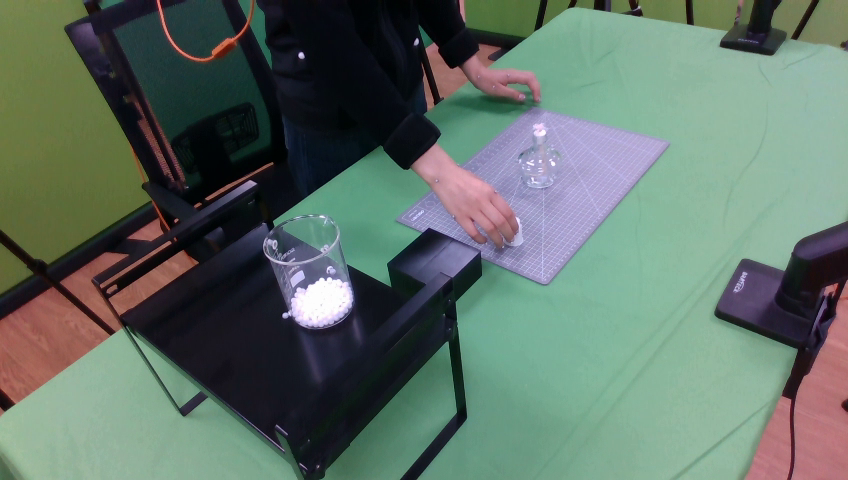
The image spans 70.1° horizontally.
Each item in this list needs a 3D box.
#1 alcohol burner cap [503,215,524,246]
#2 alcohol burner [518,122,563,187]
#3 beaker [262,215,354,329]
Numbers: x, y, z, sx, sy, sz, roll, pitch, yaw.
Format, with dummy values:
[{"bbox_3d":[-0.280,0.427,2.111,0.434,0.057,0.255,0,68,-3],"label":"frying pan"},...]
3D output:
[{"bbox_3d":[0.141,-0.018,0.955,0.034,0.048,0.033,-4,42,4],"label":"alcohol burner cap"},{"bbox_3d":[0.201,-0.151,1.046,0.078,0.119,0.077,-6,42,6],"label":"alcohol burner"},{"bbox_3d":[-0.112,0.034,0.616,0.073,0.101,0.084,13,44,23],"label":"beaker"}]
